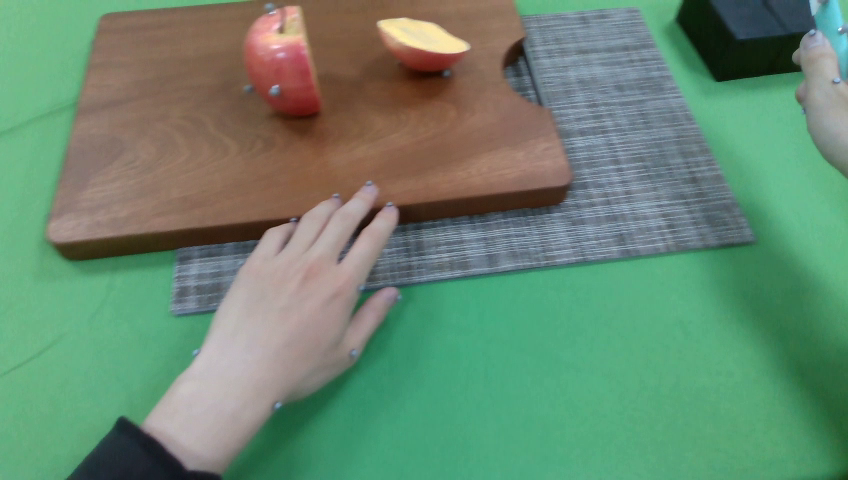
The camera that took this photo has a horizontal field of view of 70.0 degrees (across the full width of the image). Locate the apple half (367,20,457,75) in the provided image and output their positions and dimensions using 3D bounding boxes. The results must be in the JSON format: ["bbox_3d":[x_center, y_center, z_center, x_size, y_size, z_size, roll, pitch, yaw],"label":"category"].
[{"bbox_3d":[-0.016,-0.164,0.531,0.081,0.033,0.080,12,36,-9],"label":"apple half"}]

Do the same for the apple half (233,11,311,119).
[{"bbox_3d":[-0.126,-0.138,0.492,0.053,0.075,0.080,-15,61,-6],"label":"apple half"}]

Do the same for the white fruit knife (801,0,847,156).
[{"bbox_3d":[0.280,-0.164,0.433,0.016,0.027,0.207,-11,91,-3],"label":"white fruit knife"}]
